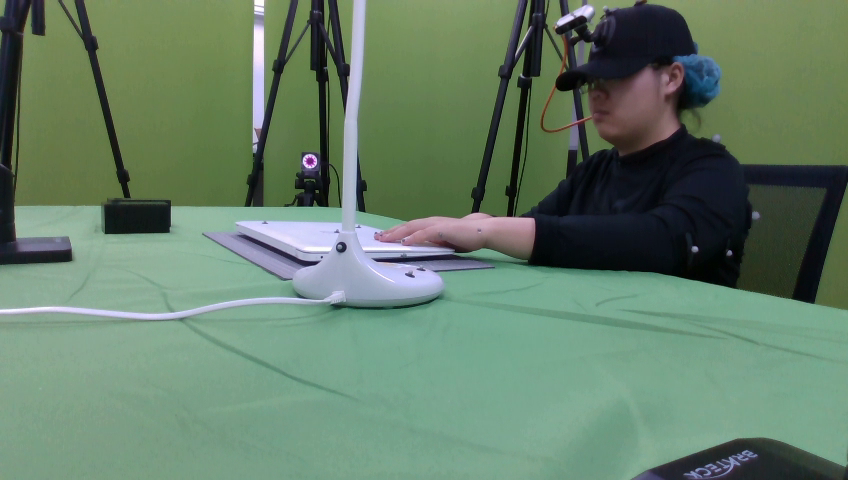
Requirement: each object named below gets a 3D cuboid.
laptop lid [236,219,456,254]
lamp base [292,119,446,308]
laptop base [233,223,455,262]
[{"bbox_3d":[-0.139,-0.008,0.959,0.243,0.013,0.355,1,7,-30],"label":"laptop lid"},{"bbox_3d":[-0.056,-0.030,0.616,0.160,0.180,0.179,4,10,8],"label":"lamp base"},{"bbox_3d":[-0.141,0.003,0.959,0.237,0.023,0.352,2,6,-32],"label":"laptop base"}]
